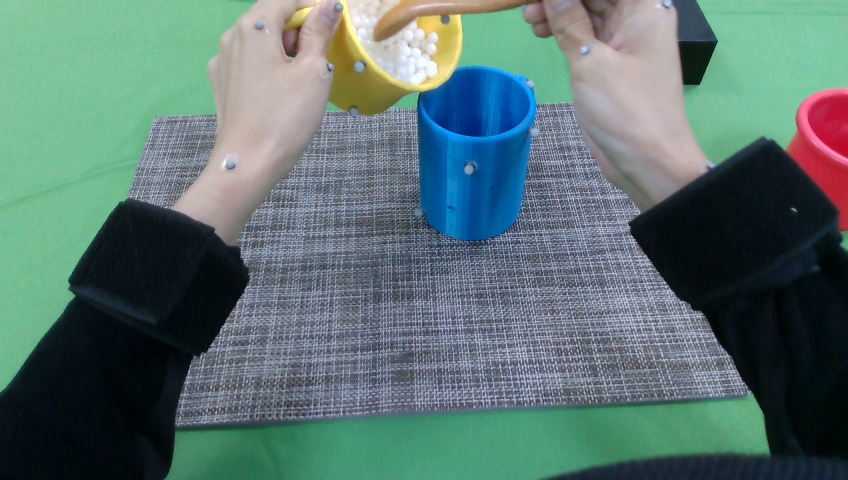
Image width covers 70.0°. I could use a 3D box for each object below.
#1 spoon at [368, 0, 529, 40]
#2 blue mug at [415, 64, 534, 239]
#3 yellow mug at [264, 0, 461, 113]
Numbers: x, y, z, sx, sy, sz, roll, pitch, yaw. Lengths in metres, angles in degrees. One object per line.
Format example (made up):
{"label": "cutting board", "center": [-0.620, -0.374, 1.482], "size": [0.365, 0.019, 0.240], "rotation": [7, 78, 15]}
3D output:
{"label": "spoon", "center": [0.035, -0.138, 0.345], "size": [0.192, 0.022, 0.041], "rotation": [7, 33, 43]}
{"label": "blue mug", "center": [0.046, -0.074, 0.463], "size": [0.081, 0.107, 0.116], "rotation": [34, 59, 24]}
{"label": "yellow mug", "center": [-0.044, -0.140, 0.404], "size": [0.131, 0.063, 0.100], "rotation": [-17, 96, -39]}
